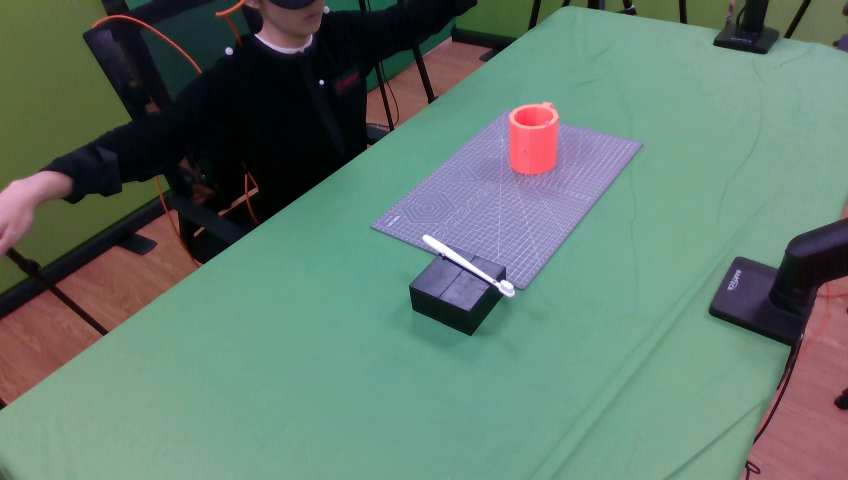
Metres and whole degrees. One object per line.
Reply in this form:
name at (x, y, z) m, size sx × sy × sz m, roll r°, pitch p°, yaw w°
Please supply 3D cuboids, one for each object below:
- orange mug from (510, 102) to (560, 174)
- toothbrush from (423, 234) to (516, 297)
orange mug at (0.210, -0.195, 1.108) m, size 0.083 × 0.101 × 0.126 m, roll 16°, pitch 50°, yaw 26°
toothbrush at (0.060, 0.031, 0.859) m, size 0.014 × 0.017 × 0.180 m, roll -36°, pitch 48°, yaw -25°
